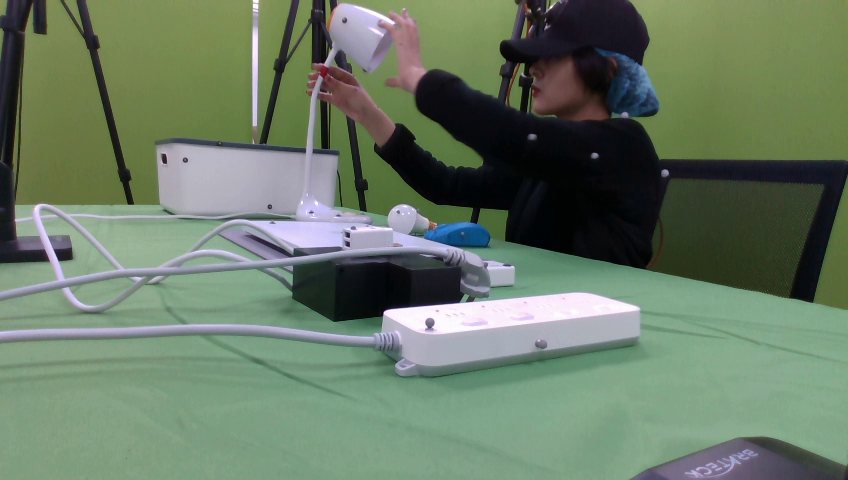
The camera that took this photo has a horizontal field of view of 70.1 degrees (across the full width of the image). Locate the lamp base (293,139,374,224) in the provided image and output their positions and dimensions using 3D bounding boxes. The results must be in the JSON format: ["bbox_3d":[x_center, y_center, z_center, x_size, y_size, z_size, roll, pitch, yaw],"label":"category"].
[{"bbox_3d":[-0.196,-0.121,1.254,0.179,0.180,0.161,1,6,11],"label":"lamp base"}]

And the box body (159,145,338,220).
[{"bbox_3d":[-0.410,-0.139,1.414,0.366,0.160,0.253,-2,8,-33],"label":"box body"}]

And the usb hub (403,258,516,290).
[{"bbox_3d":[0.042,0.038,0.690,0.126,0.025,0.049,-2,9,-30],"label":"usb hub"}]

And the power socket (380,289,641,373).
[{"bbox_3d":[0.072,0.064,0.461,0.228,0.032,0.072,-2,8,-30],"label":"power socket"}]

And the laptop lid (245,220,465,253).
[{"bbox_3d":[-0.124,-0.009,0.945,0.243,0.013,0.355,1,7,-29],"label":"laptop lid"}]

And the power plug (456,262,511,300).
[{"bbox_3d":[0.052,0.051,0.543,0.035,0.052,0.072,6,37,-20],"label":"power plug"}]

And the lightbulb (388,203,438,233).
[{"bbox_3d":[-0.017,-0.034,1.161,0.108,0.059,0.059,16,0,-27],"label":"lightbulb"}]

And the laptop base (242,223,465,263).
[{"bbox_3d":[-0.126,0.003,0.945,0.237,0.023,0.352,2,6,-31],"label":"laptop base"}]

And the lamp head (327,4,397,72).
[{"bbox_3d":[-0.132,-0.408,1.203,0.123,0.112,0.112,27,9,1],"label":"lamp head"}]

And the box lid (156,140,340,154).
[{"bbox_3d":[-0.409,-0.213,1.404,0.373,0.015,0.262,-2,8,-32],"label":"box lid"}]

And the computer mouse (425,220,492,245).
[{"bbox_3d":[0.060,-0.013,1.060,0.117,0.041,0.062,-2,10,-6],"label":"computer mouse"}]

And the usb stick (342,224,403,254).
[{"bbox_3d":[-0.047,-0.001,0.567,0.059,0.027,0.021,0,5,-32],"label":"usb stick"}]
